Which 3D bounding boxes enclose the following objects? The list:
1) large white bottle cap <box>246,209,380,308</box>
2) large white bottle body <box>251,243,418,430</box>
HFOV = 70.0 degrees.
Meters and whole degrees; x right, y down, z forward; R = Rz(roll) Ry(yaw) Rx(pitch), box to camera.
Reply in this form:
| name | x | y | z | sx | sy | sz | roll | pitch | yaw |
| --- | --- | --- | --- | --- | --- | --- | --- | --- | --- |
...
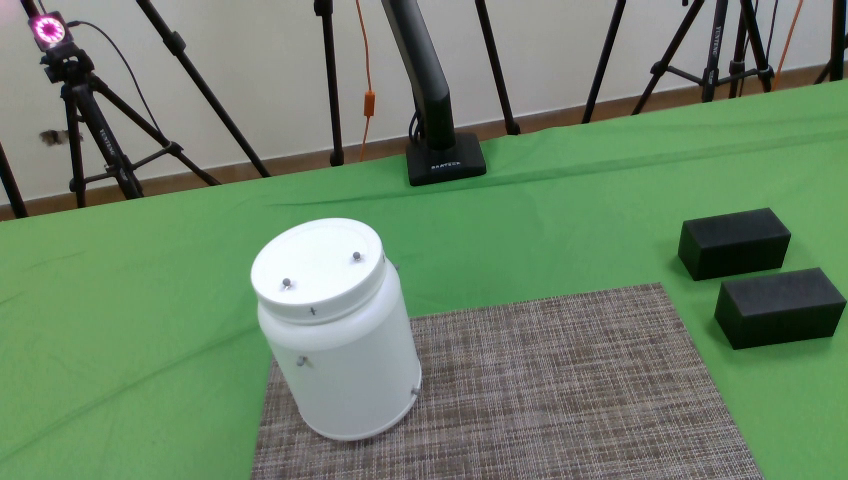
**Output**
| name | x | y | z | sx | sy | sz | roll | pitch | yaw |
| --- | --- | --- | --- | --- | --- | --- | --- | --- | --- |
| large white bottle cap | -0.095 | 0.013 | 0.522 | 0.115 | 0.018 | 0.113 | -6 | 39 | 5 |
| large white bottle body | -0.082 | 0.077 | 0.577 | 0.130 | 0.186 | 0.129 | -6 | 40 | 6 |
